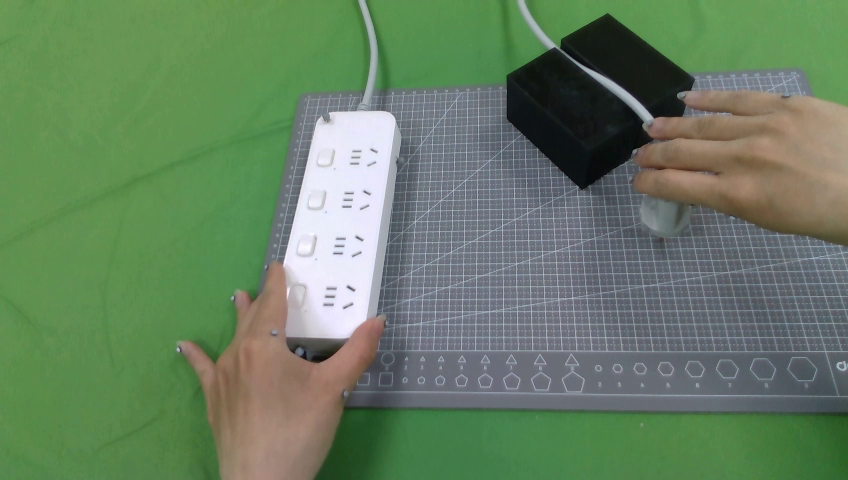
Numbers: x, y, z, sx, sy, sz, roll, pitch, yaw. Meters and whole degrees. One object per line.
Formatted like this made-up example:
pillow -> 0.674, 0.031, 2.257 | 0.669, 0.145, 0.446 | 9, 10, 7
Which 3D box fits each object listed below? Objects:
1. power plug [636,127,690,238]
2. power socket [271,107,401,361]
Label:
power plug -> 0.179, -0.037, 0.441 | 0.035, 0.053, 0.072 | 18, 70, 17
power socket -> -0.064, -0.017, 0.476 | 0.072, 0.033, 0.225 | 2, 59, 7
